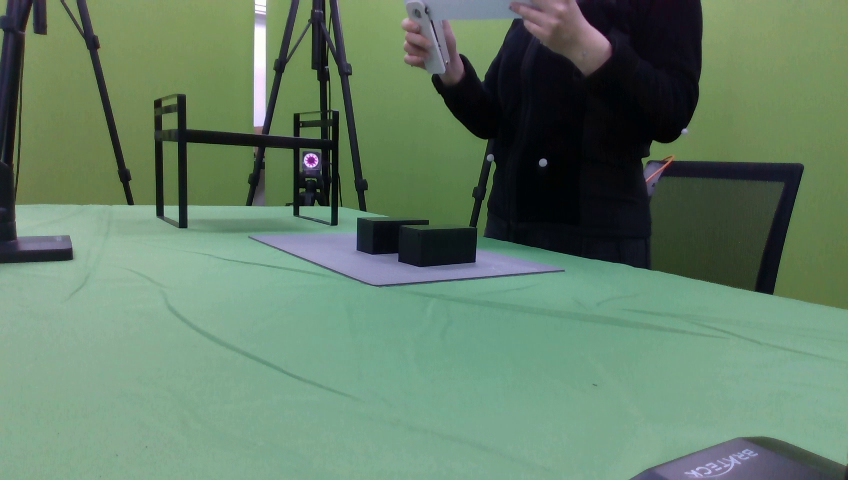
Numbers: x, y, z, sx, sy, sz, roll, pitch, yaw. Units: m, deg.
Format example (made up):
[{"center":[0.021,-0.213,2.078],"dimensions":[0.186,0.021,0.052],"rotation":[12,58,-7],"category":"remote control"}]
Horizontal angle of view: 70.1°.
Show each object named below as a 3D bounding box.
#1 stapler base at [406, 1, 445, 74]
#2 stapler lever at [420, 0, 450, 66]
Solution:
[{"center":[0.008,-0.354,1.054],"dimensions":[0.041,0.131,0.024],"rotation":[17,49,43],"category":"stapler base"},{"center":[0.019,-0.365,1.063],"dimensions":[0.026,0.118,0.040],"rotation":[17,57,43],"category":"stapler lever"}]
